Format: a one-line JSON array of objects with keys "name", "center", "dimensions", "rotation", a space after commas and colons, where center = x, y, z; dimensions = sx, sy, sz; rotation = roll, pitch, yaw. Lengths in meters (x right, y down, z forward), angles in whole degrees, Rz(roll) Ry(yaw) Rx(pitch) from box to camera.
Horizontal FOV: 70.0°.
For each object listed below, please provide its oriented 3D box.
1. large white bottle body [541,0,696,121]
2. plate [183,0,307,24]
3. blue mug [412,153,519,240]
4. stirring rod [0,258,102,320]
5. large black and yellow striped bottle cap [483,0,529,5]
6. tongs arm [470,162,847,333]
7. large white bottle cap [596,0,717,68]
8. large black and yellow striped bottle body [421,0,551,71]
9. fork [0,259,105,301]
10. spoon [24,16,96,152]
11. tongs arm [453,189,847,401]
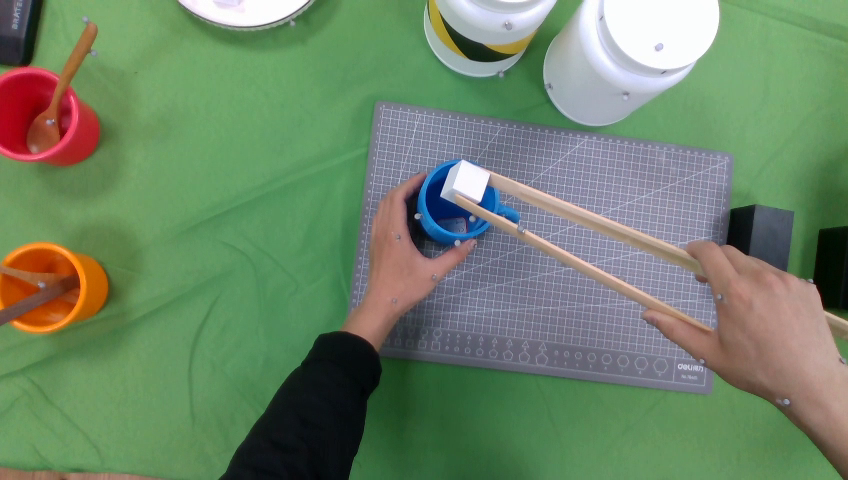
[{"name": "large white bottle body", "center": [0.213, -0.215, 0.658], "dimensions": [0.131, 0.184, 0.130], "rotation": [0, 87, -6]}, {"name": "plate", "center": [-0.206, -0.347, 0.697], "dimensions": [0.208, 0.039, 0.207], "rotation": [0, 88, -5]}, {"name": "blue mug", "center": [0.047, -0.041, 0.671], "dimensions": [0.117, 0.106, 0.082], "rotation": [13, 85, -5]}, {"name": "stirring rod", "center": [-0.406, 0.063, 0.609], "dimensions": [0.014, 0.006, 0.176], "rotation": [54, 42, -4]}, {"name": "large black and yellow striped bottle cap", "center": [0.076, -0.278, 0.564], "dimensions": [0.115, 0.019, 0.115], "rotation": [0, 89, -7]}, {"name": "tongs arm", "center": [0.207, 0.014, 0.514], "dimensions": [0.385, 0.028, 0.028], "rotation": [26, 69, 19]}, {"name": "large white bottle cap", "center": [0.220, -0.221, 0.574], "dimensions": [0.115, 0.018, 0.114], "rotation": [0, 87, -6]}, {"name": "large black and yellow striped bottle body", "center": [0.069, -0.272, 0.646], "dimensions": [0.131, 0.184, 0.130], "rotation": [0, 87, -5]}, {"name": "fork", "center": [-0.424, 0.022, 0.603], "dimensions": [0.209, 0.018, 0.028], "rotation": [31, 81, -47]}, {"name": "spoon", "center": [-0.372, -0.155, 0.619], "dimensions": [0.194, 0.021, 0.041], "rotation": [-38, 87, 37]}, {"name": "tongs arm", "center": [0.195, 0.032, 0.508], "dimensions": [0.382, 0.027, 0.050], "rotation": [31, 74, 21]}]
